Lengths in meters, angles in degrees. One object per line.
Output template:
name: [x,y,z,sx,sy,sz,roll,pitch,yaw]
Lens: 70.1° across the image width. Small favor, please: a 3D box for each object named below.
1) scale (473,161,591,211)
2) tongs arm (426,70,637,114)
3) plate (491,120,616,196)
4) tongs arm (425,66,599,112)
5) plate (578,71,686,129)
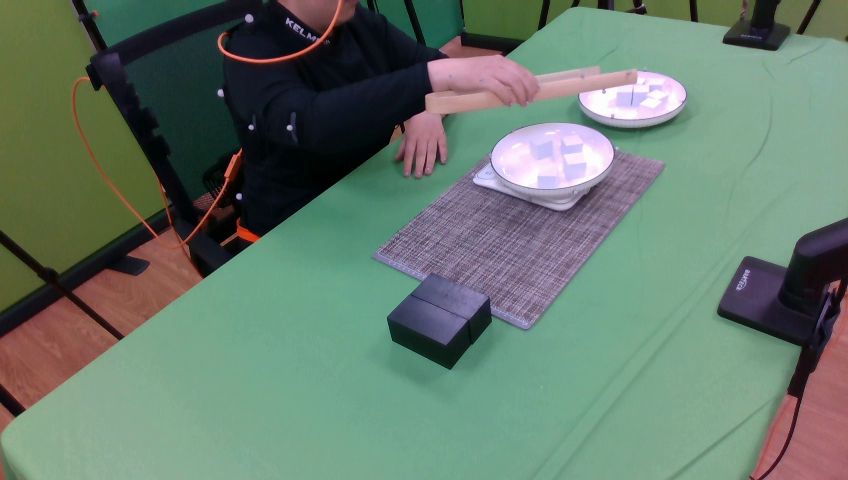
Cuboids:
scale: [0.202,-0.121,1.074,0.199,0.032,0.149,23,49,33]
tongs arm: [0.187,-0.247,0.996,0.387,0.026,0.050,-14,26,-23]
plate: [0.221,-0.137,1.038,0.207,0.039,0.206,-6,41,5]
tongs arm: [0.163,-0.264,1.042,0.390,0.028,0.028,-16,30,-27]
plate: [0.416,-0.280,1.222,0.209,0.038,0.208,-5,41,5]
